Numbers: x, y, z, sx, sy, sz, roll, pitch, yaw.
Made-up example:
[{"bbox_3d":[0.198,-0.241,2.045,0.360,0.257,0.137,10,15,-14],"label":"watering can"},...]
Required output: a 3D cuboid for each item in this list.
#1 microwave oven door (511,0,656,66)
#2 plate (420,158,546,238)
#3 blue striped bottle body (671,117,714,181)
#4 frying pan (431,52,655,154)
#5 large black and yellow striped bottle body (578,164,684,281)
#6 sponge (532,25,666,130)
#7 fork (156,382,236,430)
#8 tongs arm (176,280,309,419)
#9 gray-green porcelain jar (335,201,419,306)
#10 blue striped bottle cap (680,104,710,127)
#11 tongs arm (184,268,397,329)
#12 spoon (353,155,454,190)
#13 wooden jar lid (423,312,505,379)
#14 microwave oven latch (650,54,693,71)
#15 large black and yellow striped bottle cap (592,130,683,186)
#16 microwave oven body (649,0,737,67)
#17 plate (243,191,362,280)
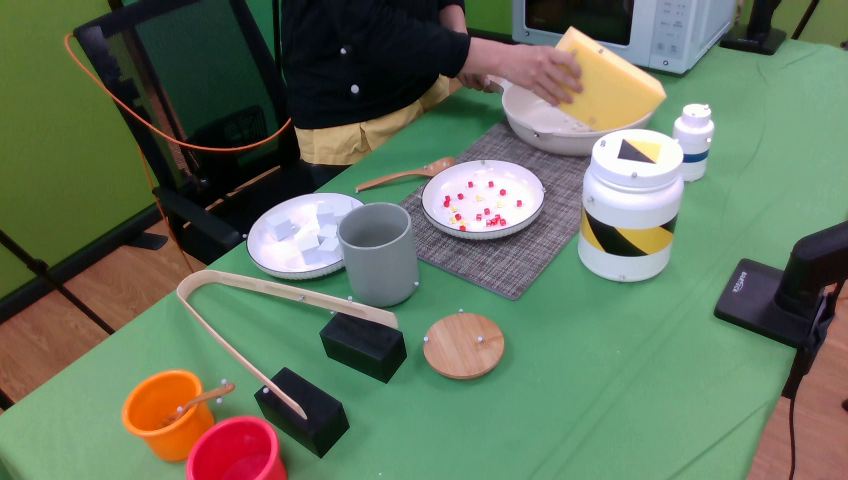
[{"bbox_3d":[0.351,-0.540,1.349,0.353,0.245,0.039,24,50,31],"label":"microwave oven door"},{"bbox_3d":[0.099,-0.067,1.017,0.209,0.038,0.208,-4,40,4],"label":"plate"},{"bbox_3d":[0.449,-0.165,1.022,0.063,0.121,0.063,-5,41,4],"label":"blue striped bottle body"},{"bbox_3d":[0.216,-0.302,1.223,0.484,0.103,0.308,29,49,24],"label":"frying pan"},{"bbox_3d":[0.292,-0.046,0.859,0.131,0.185,0.130,-4,41,4],"label":"large black and yellow striped bottle body"},{"bbox_3d":[0.316,-0.280,1.101,0.208,0.118,0.060,26,37,-15],"label":"sponge"},{"bbox_3d":[-0.262,0.189,0.690,0.018,0.206,0.028,48,43,-7],"label":"fork"},{"bbox_3d":[-0.254,0.133,0.801,0.028,0.028,0.384,-41,40,-23],"label":"tongs arm"},{"bbox_3d":[-0.064,0.024,0.872,0.106,0.127,0.105,-4,41,4],"label":"gray-green porcelain jar"},{"bbox_3d":[0.443,-0.205,0.989,0.044,0.021,0.044,-1,41,2],"label":"blue striped bottle cap"},{"bbox_3d":[-0.202,0.084,0.848,0.382,0.027,0.051,11,45,35],"label":"tongs arm"},{"bbox_3d":[-0.038,-0.123,1.116,0.194,0.022,0.041,-12,58,-4],"label":"spoon"},{"bbox_3d":[0.053,0.142,0.800,0.108,0.021,0.108,-5,39,4],"label":"wooden jar lid"},{"bbox_3d":[0.531,-0.386,1.301,0.078,0.029,0.030,26,51,33],"label":"microwave oven latch"},{"bbox_3d":[0.282,-0.111,0.803,0.115,0.019,0.114,-3,41,3],"label":"large black and yellow striped bottle cap"},{"bbox_3d":[0.475,-0.602,1.411,0.438,0.261,0.327,23,50,32],"label":"microwave oven body"},{"bbox_3d":[-0.188,-0.005,0.992,0.207,0.039,0.206,-4,41,4],"label":"plate"}]
